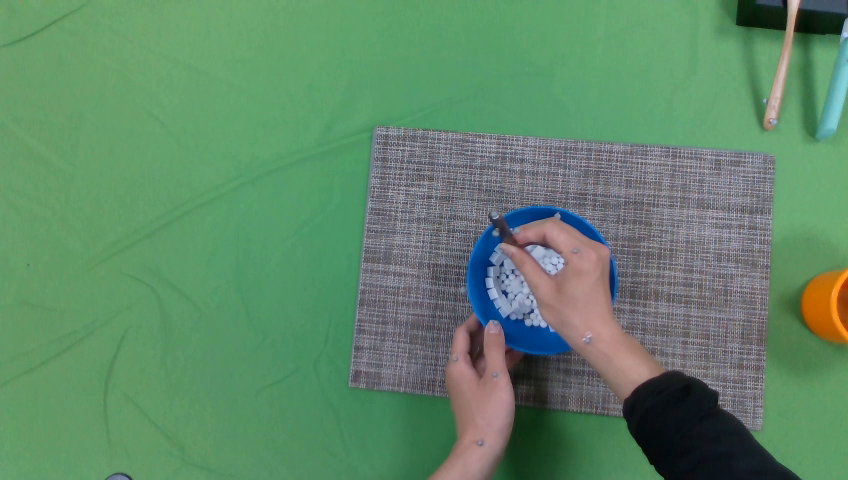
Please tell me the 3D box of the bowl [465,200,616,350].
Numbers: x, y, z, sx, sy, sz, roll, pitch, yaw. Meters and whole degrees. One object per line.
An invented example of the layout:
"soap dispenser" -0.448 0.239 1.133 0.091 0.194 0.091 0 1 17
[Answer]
"bowl" 0.118 0.038 0.639 0.151 0.077 0.151 0 85 4

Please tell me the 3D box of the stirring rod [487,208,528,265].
"stirring rod" 0.082 0.001 0.579 0.014 0.177 0.006 16 79 21

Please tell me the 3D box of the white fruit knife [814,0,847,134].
"white fruit knife" 0.447 -0.217 0.642 0.016 0.027 0.208 6 102 1

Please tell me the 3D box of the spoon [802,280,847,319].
"spoon" 0.478 0.065 0.586 0.022 0.192 0.041 10 85 -40

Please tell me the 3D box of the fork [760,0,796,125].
"fork" 0.385 -0.228 0.647 0.028 0.018 0.208 2 105 1
